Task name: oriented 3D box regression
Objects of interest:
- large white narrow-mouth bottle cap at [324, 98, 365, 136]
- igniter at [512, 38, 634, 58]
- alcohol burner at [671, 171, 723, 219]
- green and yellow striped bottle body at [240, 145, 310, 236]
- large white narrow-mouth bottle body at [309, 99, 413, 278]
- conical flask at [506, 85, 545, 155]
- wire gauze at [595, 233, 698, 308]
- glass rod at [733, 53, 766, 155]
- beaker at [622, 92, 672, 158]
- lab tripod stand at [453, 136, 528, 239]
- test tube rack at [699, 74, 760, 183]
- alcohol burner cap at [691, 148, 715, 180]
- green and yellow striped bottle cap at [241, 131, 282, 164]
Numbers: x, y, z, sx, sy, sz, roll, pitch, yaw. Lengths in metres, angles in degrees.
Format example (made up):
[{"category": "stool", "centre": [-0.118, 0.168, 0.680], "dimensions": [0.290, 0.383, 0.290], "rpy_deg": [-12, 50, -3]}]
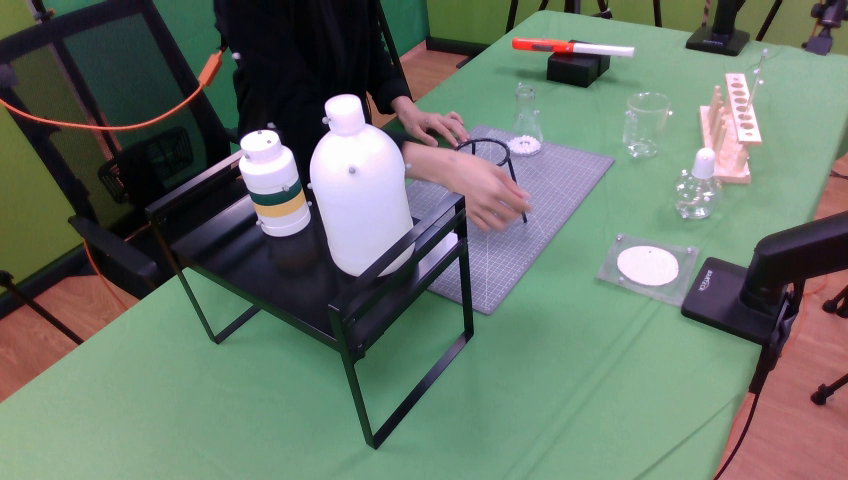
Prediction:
[{"category": "large white narrow-mouth bottle cap", "centre": [-0.076, -0.120, 0.585], "dimensions": [0.038, 0.024, 0.037], "rpy_deg": [-3, 42, 3]}, {"category": "igniter", "centre": [0.328, -0.433, 1.360], "dimensions": [0.275, 0.025, 0.057], "rpy_deg": [12, 33, 20]}, {"category": "alcohol burner", "centre": [0.434, -0.093, 0.955], "dimensions": [0.078, 0.119, 0.077], "rpy_deg": [-3, 43, 3]}, {"category": "green and yellow striped bottle body", "centre": [-0.181, -0.068, 0.729], "dimensions": [0.063, 0.120, 0.063], "rpy_deg": [-4, 40, 4]}, {"category": "large white narrow-mouth bottle body", "centre": [-0.068, -0.057, 0.644], "dimensions": [0.102, 0.195, 0.101], "rpy_deg": [-3, 42, 4]}, {"category": "conical flask", "centre": [0.190, -0.227, 1.134], "dimensions": [0.075, 0.122, 0.075], "rpy_deg": [-4, 41, 4]}, {"category": "wire gauze", "centre": [0.331, 0.038, 0.897], "dimensions": [0.124, 0.011, 0.121], "rpy_deg": [18, 47, 26]}, {"category": "glass rod", "centre": [0.540, -0.220, 1.007], "dimensions": [0.008, 0.201, 0.008], "rpy_deg": [-5, 45, 6]}, {"category": "beaker", "centre": [0.402, -0.210, 1.106], "dimensions": [0.074, 0.101, 0.083], "rpy_deg": [-9, 40, -2]}, {"category": "lab tripod stand", "centre": [0.094, -0.086, 0.974], "dimensions": [0.148, 0.132, 0.147], "rpy_deg": [-4, 43, 4]}, {"category": "test tube rack", "centre": [0.547, -0.208, 1.095], "dimensions": [0.066, 0.085, 0.242], "rpy_deg": [6, 42, 15]}, {"category": "alcohol burner cap", "centre": [0.432, -0.120, 0.930], "dimensions": [0.034, 0.048, 0.033], "rpy_deg": [-7, 48, 8]}, {"category": "green and yellow striped bottle cap", "centre": [-0.187, -0.107, 0.695], "dimensions": [0.045, 0.020, 0.045], "rpy_deg": [-3, 39, 3]}]
